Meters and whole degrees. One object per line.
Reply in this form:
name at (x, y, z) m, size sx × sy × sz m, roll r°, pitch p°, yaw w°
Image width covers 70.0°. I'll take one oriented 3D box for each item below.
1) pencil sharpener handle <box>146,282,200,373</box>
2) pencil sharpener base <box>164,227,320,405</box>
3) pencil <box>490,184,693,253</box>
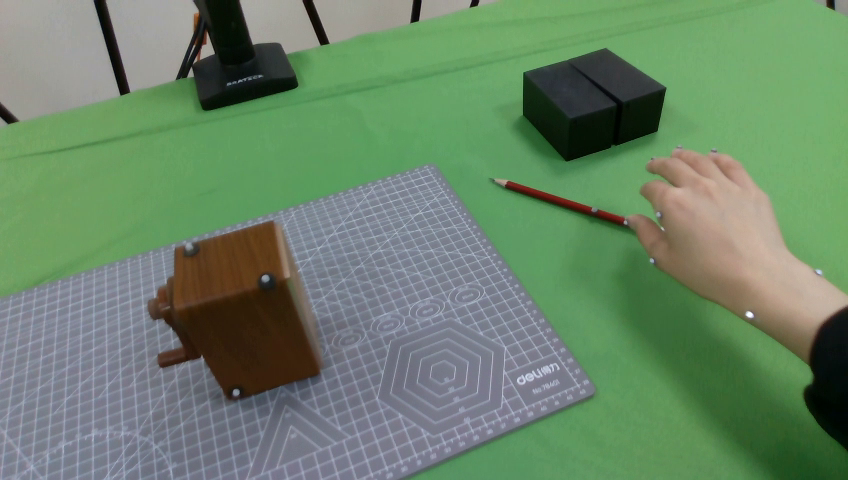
pencil sharpener handle at (-0.172, 0.061, 0.401) m, size 0.031 × 0.068 × 0.035 m, roll -16°, pitch 37°, yaw -9°
pencil sharpener base at (-0.123, 0.055, 0.419) m, size 0.077 × 0.108 × 0.060 m, roll -16°, pitch 44°, yaw -9°
pencil at (0.142, -0.024, 0.545) m, size 0.192 × 0.012 × 0.012 m, roll 22°, pitch 50°, yaw 29°
